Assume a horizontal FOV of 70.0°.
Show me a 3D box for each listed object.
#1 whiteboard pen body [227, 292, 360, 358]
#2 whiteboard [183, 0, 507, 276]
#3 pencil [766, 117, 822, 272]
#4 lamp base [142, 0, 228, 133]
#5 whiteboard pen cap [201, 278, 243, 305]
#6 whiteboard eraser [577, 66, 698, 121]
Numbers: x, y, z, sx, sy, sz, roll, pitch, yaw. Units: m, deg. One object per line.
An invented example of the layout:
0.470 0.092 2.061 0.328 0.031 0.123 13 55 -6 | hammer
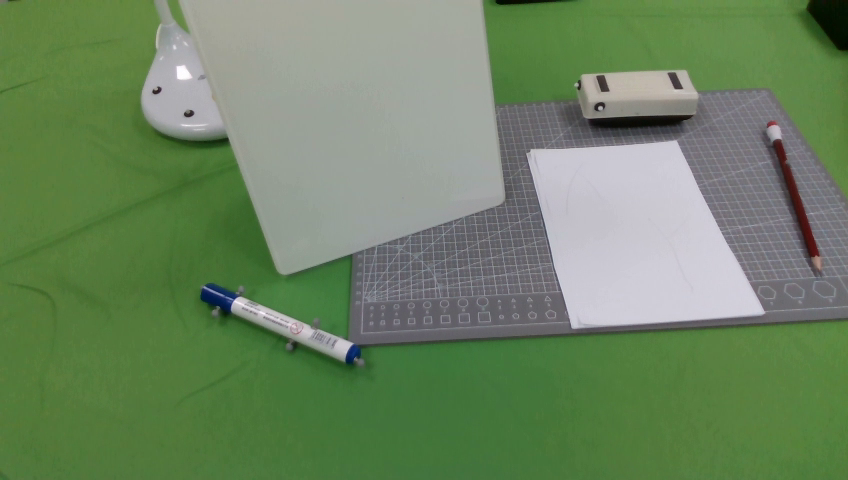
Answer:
-0.113 0.062 0.476 0.140 0.017 0.017 19 53 19 | whiteboard pen body
-0.070 -0.161 0.515 0.217 0.308 0.142 -18 31 -12 | whiteboard
0.337 -0.048 0.553 0.012 0.012 0.192 5 51 7 | pencil
-0.245 -0.229 0.625 0.177 0.182 0.160 29 57 28 | lamp base
-0.165 0.043 0.495 0.033 0.018 0.018 18 52 21 | whiteboard pen cap
0.219 -0.151 0.626 0.113 0.042 0.055 -1 51 2 | whiteboard eraser
